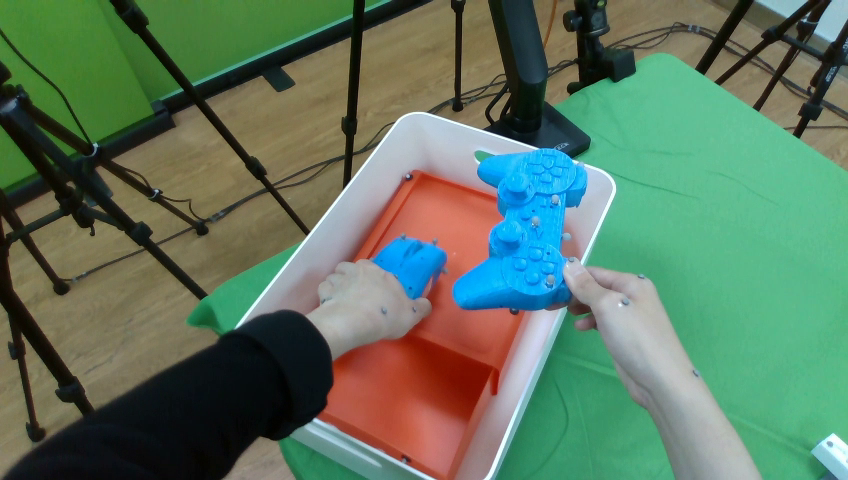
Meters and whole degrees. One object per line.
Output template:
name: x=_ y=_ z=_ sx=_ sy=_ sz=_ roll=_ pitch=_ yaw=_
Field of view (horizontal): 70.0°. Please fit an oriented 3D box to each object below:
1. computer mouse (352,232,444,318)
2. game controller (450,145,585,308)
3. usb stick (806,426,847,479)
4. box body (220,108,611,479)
computer mouse: x=-0.023 y=0.028 z=0.608 sx=0.062 sy=0.041 sz=0.116 roll=17 pitch=38 yaw=12
game controller: x=0.079 y=-0.016 z=0.498 sx=0.097 sy=0.052 sz=0.154 roll=8 pitch=60 yaw=10
usb stick: x=0.407 y=0.212 z=0.588 sx=0.021 sy=0.027 sz=0.058 roll=-27 pitch=61 yaw=-22
box body: x=0.010 y=0.062 z=0.636 sx=0.253 sy=0.162 sz=0.362 roll=22 pitch=58 yaw=16
